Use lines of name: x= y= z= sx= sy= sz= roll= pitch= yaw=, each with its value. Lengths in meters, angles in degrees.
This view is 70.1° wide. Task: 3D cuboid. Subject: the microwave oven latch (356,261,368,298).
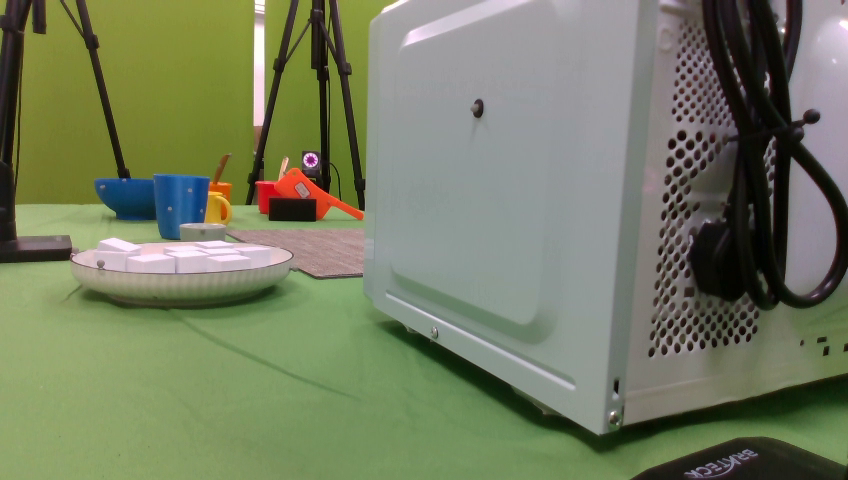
microwave oven latch: x=-0.020 y=0.033 z=0.530 sx=0.079 sy=0.029 sz=0.030 roll=0 pitch=7 yaw=-26

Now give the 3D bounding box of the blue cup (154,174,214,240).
blue cup: x=-0.391 y=-0.053 z=0.978 sx=0.093 sy=0.100 sz=0.092 roll=3 pitch=6 yaw=0

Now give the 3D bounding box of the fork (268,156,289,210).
fork: x=-0.360 y=-0.144 z=1.508 sx=0.028 sy=0.018 sz=0.207 roll=1 pitch=49 yaw=1

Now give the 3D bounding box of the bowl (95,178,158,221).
bowl: x=-0.576 y=-0.081 z=1.217 sx=0.151 sy=0.077 sz=0.151 roll=3 pitch=8 yaw=0

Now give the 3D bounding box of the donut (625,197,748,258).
donut: x=0.223 y=-0.009 z=0.518 sx=0.099 sy=0.048 sz=0.099 roll=9 pitch=7 yaw=-1

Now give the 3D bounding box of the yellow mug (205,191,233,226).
yellow mug: x=-0.415 y=-0.057 z=1.132 sx=0.130 sy=0.064 sz=0.100 roll=6 pitch=8 yaw=16

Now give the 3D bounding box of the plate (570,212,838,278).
plate: x=0.230 y=0.001 z=0.519 sx=0.209 sy=0.038 sz=0.209 roll=2 pitch=7 yaw=0

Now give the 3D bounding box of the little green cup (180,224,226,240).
little green cup: x=-0.309 y=-0.001 z=0.846 sx=0.061 sy=0.038 sz=0.061 roll=2 pitch=8 yaw=0

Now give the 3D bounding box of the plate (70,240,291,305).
plate: x=-0.242 y=0.031 z=0.618 sx=0.208 sy=0.039 sz=0.207 roll=2 pitch=8 yaw=0

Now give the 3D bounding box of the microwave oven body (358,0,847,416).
microwave oven body: x=0.211 y=-0.047 z=0.475 sx=0.444 sy=0.260 sz=0.324 roll=-1 pitch=7 yaw=-28

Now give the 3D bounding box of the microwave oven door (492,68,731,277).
microwave oven door: x=0.232 y=-0.097 z=0.836 sx=0.039 sy=0.243 sz=0.354 roll=-3 pitch=9 yaw=-36

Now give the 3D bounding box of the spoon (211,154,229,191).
spoon: x=-0.431 y=-0.115 z=1.253 sx=0.042 sy=0.193 sz=0.021 roll=-3 pitch=53 yaw=-33

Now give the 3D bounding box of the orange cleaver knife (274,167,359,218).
orange cleaver knife: x=-0.238 y=-0.091 z=1.381 sx=0.212 sy=0.077 sz=0.012 roll=31 pitch=0 yaw=-19
